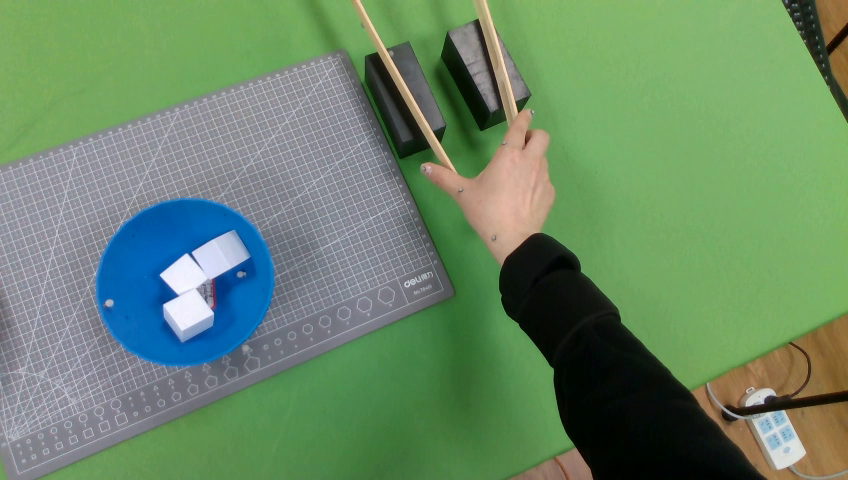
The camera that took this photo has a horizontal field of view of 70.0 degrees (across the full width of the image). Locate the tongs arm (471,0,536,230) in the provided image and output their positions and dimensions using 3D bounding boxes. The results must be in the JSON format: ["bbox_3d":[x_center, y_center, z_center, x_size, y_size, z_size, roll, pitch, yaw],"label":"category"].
[{"bbox_3d":[0.061,-0.197,0.628,0.028,0.028,0.386,-11,80,-14],"label":"tongs arm"}]

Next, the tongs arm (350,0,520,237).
[{"bbox_3d":[-0.012,-0.170,0.614,0.051,0.026,0.383,-24,83,-13],"label":"tongs arm"}]

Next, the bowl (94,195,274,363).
[{"bbox_3d":[-0.213,0.040,0.568,0.152,0.077,0.150,2,79,-7],"label":"bowl"}]
